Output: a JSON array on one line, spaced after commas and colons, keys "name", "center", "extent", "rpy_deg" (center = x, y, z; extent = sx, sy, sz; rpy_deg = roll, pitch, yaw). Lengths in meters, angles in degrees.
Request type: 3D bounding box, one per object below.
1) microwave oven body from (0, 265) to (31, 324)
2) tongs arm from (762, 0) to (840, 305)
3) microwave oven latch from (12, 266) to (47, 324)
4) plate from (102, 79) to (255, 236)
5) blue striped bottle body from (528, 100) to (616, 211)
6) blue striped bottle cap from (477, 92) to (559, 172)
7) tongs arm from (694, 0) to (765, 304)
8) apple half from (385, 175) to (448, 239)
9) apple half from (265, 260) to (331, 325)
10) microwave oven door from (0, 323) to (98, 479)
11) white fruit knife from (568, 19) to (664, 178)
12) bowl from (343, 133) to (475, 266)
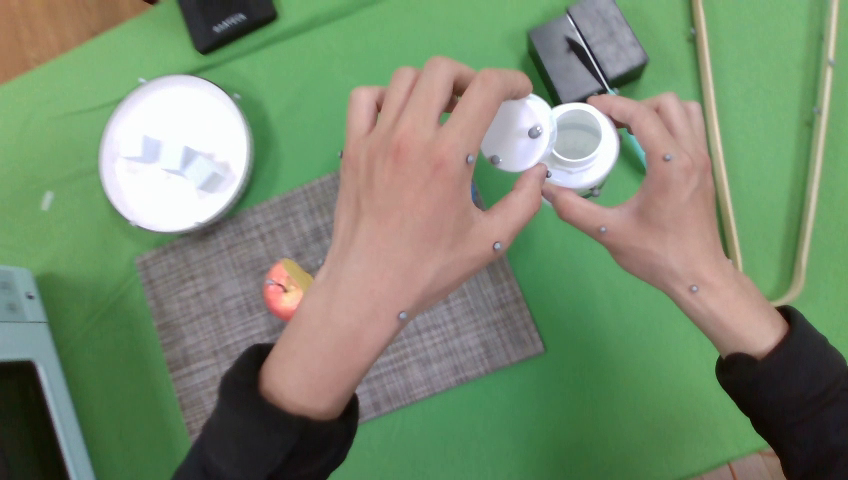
[{"name": "microwave oven body", "center": [-0.601, 0.280, 0.671], "extent": [0.326, 0.261, 0.439], "rpy_deg": [-24, 80, 5]}, {"name": "tongs arm", "center": [0.420, -0.117, 0.673], "extent": [0.050, 0.026, 0.384], "rpy_deg": [7, 85, 12]}, {"name": "microwave oven latch", "center": [-0.517, 0.074, 0.783], "extent": [0.030, 0.029, 0.079], "rpy_deg": [-24, 80, 5]}, {"name": "plate", "center": [-0.315, -0.105, 0.792], "extent": [0.207, 0.039, 0.207], "rpy_deg": [-1, 83, 9]}, {"name": "blue striped bottle body", "center": [0.108, -0.063, 0.455], "extent": [0.063, 0.121, 0.063], "rpy_deg": [-1, 82, 11]}, {"name": "blue striped bottle cap", "center": [0.053, -0.061, 0.345], "extent": [0.044, 0.020, 0.045], "rpy_deg": [9, 111, 25]}, {"name": "tongs arm", "center": [0.341, -0.119, 0.691], "extent": [0.028, 0.028, 0.386], "rpy_deg": [-6, 82, 7]}, {"name": "apple half", "center": [-0.010, -0.041, 0.703], "extent": [0.081, 0.033, 0.081], "rpy_deg": [-2, 81, 10]}, {"name": "apple half", "center": [-0.155, 0.069, 0.721], "extent": [0.053, 0.075, 0.080], "rpy_deg": [-42, 82, 6]}, {"name": "microwave oven door", "center": [-0.452, 0.258, 0.645], "extent": [0.039, 0.245, 0.354], "rpy_deg": [-24, 79, 6]}, {"name": "white fruit knife", "center": [0.215, -0.158, 0.685], "extent": [0.016, 0.027, 0.208], "rpy_deg": [-31, 96, 22]}, {"name": "bowl", "center": [-0.011, -0.041, 0.708], "extent": [0.151, 0.077, 0.151], "rpy_deg": [-1, 83, 10]}]
